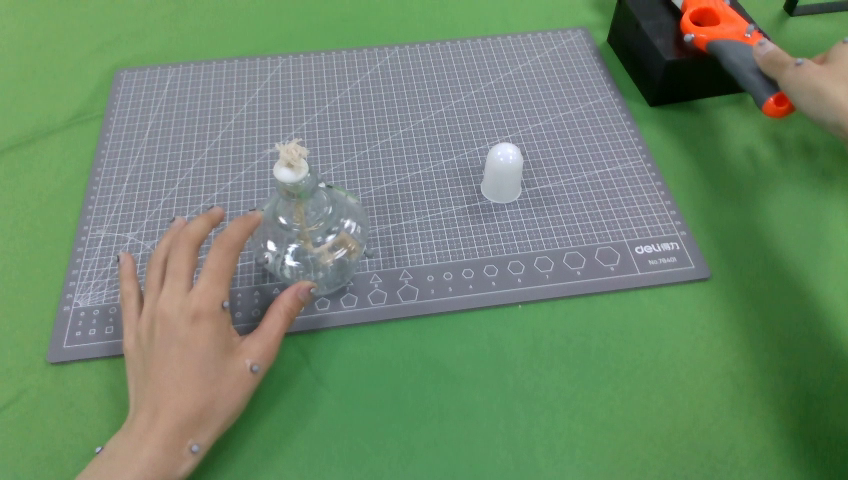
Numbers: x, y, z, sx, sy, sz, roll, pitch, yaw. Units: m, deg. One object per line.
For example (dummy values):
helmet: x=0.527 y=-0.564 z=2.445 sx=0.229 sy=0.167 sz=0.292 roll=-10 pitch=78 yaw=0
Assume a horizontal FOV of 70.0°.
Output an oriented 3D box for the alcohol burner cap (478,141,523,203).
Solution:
alcohol burner cap: x=0.060 y=-0.054 z=0.460 sx=0.034 sy=0.048 sz=0.033 roll=1 pitch=53 yaw=-1

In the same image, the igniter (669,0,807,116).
igniter: x=0.237 y=-0.198 z=0.519 sx=0.057 sy=0.025 sz=0.273 roll=-13 pitch=53 yaw=-6

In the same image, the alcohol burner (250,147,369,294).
alcohol burner: x=-0.076 y=-0.017 z=0.387 sx=0.078 sy=0.120 sz=0.077 roll=0 pitch=55 yaw=1
